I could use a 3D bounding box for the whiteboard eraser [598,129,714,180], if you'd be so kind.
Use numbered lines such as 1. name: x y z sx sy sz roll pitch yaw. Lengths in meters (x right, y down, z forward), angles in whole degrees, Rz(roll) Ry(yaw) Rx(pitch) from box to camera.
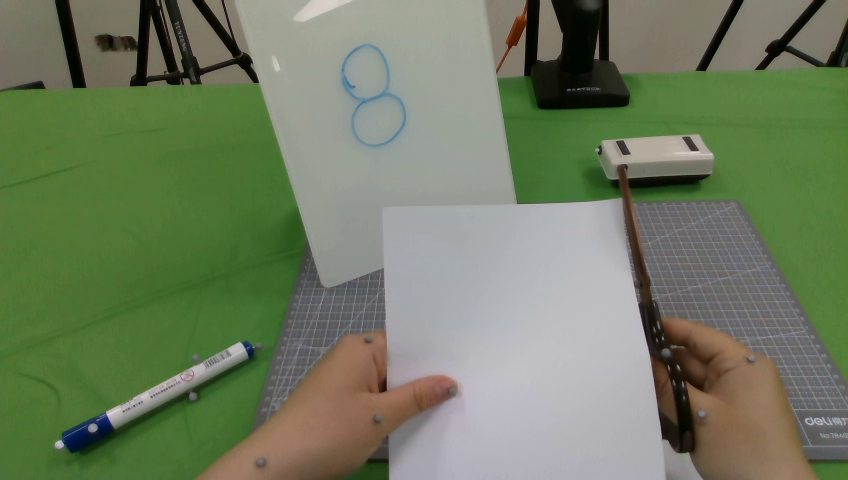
1. whiteboard eraser: 0.253 -0.094 0.668 0.113 0.042 0.055 -2 43 0

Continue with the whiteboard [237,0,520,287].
1. whiteboard: -0.053 -0.148 0.594 0.217 0.307 0.142 -20 23 -18

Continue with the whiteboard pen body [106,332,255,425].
1. whiteboard pen body: -0.198 0.111 0.472 0.141 0.017 0.017 -29 47 -28

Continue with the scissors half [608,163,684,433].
1. scissors half: 0.137 0.037 0.383 0.013 0.175 0.040 -15 4 -7

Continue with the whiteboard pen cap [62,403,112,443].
1. whiteboard pen cap: -0.245 0.133 0.445 0.033 0.018 0.018 -28 47 -28

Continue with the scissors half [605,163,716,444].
1. scissors half: 0.138 0.034 0.362 0.013 0.040 0.174 -16 76 -2
